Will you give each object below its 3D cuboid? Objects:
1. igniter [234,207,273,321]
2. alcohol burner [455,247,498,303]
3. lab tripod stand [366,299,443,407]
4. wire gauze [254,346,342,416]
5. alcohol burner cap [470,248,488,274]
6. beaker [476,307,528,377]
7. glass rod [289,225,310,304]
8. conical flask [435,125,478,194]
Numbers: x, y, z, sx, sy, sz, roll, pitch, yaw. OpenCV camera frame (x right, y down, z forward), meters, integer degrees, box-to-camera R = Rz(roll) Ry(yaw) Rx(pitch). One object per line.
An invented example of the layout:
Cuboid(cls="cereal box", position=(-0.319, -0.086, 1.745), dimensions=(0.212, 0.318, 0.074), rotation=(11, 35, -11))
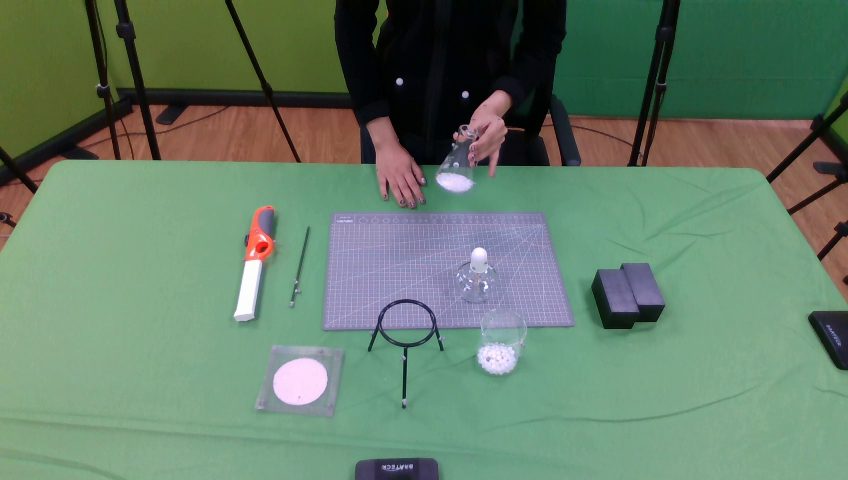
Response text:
Cuboid(cls="igniter", position=(-0.318, 0.035, 1.137), dimensions=(0.057, 0.025, 0.274), rotation=(-7, 46, 3))
Cuboid(cls="alcohol burner", position=(0.095, 0.057, 1.085), dimensions=(0.078, 0.120, 0.077), rotation=(1, 47, -1))
Cuboid(cls="lab tripod stand", position=(-0.028, 0.165, 0.961), dimensions=(0.148, 0.132, 0.147), rotation=(3, 44, -2))
Cuboid(cls="wire gauze", position=(-0.201, 0.223, 0.978), dimensions=(0.125, 0.011, 0.121), rotation=(4, 45, 1))
Cuboid(cls="alcohol burner cap", position=(0.095, 0.034, 1.057), dimensions=(0.034, 0.048, 0.033), rotation=(-3, 52, 4))
Cuboid(cls="beaker", position=(0.122, 0.171, 0.991), dimensions=(0.084, 0.101, 0.073), rotation=(-34, 56, -31))
Cuboid(cls="glass rod", position=(-0.235, 0.043, 1.150), dimensions=(0.008, 0.008, 0.198), rotation=(3, 46, -1))
Cuboid(cls="conical flask", position=(0.068, -0.154, 1.138), dimensions=(0.075, 0.122, 0.075), rotation=(10, 35, -7))
